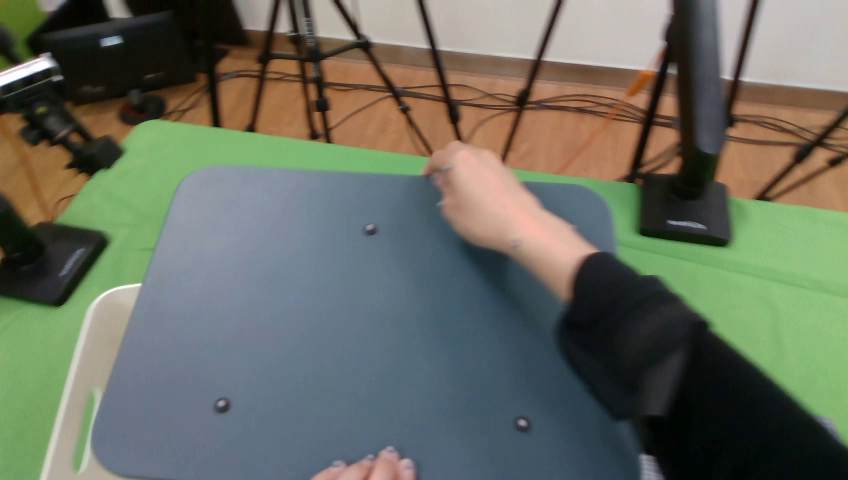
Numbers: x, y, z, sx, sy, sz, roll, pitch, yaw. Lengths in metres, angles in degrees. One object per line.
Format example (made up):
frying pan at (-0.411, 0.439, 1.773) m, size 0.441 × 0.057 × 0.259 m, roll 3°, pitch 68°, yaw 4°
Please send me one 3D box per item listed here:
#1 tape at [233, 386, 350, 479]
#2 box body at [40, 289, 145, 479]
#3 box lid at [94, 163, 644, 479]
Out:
tape at (-0.134, 0.211, 0.619) m, size 0.117 × 0.053 × 0.115 m, roll -1°, pitch 50°, yaw 1°
box body at (-0.128, 0.174, 0.585) m, size 0.364 × 0.162 × 0.251 m, roll -8°, pitch 50°, yaw -4°
box lid at (-0.028, 0.058, 0.455) m, size 0.371 × 0.015 × 0.261 m, roll 4°, pitch 59°, yaw 2°
